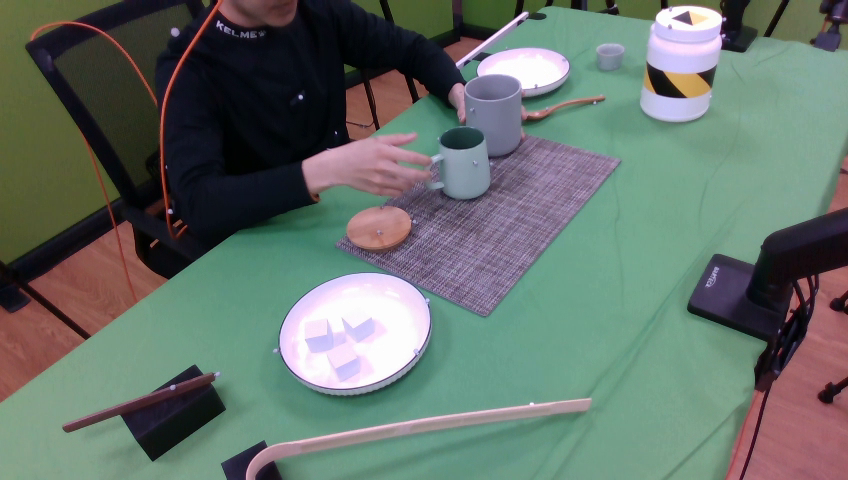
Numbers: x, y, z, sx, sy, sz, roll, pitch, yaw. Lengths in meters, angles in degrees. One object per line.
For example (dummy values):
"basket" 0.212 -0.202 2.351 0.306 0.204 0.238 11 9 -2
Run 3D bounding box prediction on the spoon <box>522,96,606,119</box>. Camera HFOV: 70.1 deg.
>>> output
"spoon" 0.291 -0.277 1.249 0.194 0.022 0.041 -17 25 -11

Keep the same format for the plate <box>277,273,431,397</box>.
"plate" -0.091 0.129 0.821 0.207 0.039 0.206 -4 40 4

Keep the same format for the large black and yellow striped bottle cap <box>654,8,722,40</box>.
"large black and yellow striped bottle cap" 0.483 -0.397 1.108 0.115 0.019 0.114 -3 41 3

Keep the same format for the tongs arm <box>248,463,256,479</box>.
"tongs arm" 0.012 0.262 0.615 0.385 0.026 0.050 3 41 -2

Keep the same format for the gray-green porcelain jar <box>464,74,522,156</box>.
"gray-green porcelain jar" 0.131 -0.230 1.132 0.106 0.127 0.105 -4 41 4

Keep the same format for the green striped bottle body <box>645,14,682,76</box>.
"green striped bottle body" 0.520 -0.424 1.312 0.063 0.120 0.063 -4 40 4

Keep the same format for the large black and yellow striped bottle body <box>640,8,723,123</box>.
"large black and yellow striped bottle body" 0.493 -0.334 1.161 0.131 0.185 0.130 -4 41 4

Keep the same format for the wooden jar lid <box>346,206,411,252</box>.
"wooden jar lid" -0.074 -0.017 0.996 0.108 0.021 0.108 -3 39 3

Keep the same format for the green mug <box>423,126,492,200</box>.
"green mug" 0.055 -0.126 1.039 0.126 0.105 0.091 -25 44 -18

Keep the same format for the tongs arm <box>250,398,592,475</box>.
"tongs arm" 0.008 0.212 0.675 0.389 0.028 0.028 -5 46 -11

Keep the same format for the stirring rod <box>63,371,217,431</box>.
"stirring rod" -0.337 0.192 0.723 0.177 0.014 0.005 -18 43 -12

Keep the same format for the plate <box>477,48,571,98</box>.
"plate" 0.223 -0.371 1.357 0.209 0.038 0.208 -4 41 4

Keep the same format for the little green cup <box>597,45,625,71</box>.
"little green cup" 0.423 -0.413 1.375 0.061 0.039 0.061 -3 41 3

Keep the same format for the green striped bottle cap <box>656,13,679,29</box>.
"green striped bottle cap" 0.515 -0.463 1.278 0.044 0.020 0.044 -6 42 6
